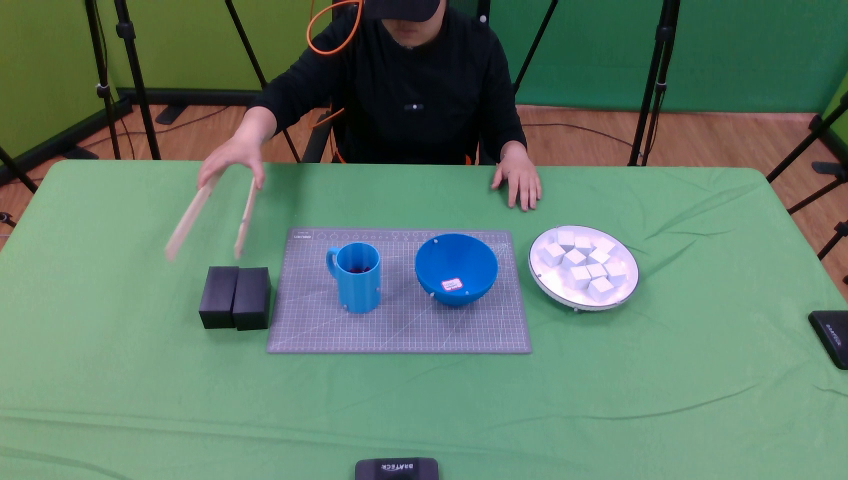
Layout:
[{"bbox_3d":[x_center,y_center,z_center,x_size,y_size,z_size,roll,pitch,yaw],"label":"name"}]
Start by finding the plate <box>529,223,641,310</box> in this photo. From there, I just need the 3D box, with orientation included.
[{"bbox_3d":[0.303,0.053,1.156,0.209,0.038,0.208,2,46,-2],"label":"plate"}]

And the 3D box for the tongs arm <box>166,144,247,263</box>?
[{"bbox_3d":[-0.384,-0.080,1.089,0.028,0.028,0.385,-4,33,4],"label":"tongs arm"}]

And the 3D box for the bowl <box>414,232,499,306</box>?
[{"bbox_3d":[0.056,0.066,1.095,0.151,0.077,0.150,2,46,-2],"label":"bowl"}]

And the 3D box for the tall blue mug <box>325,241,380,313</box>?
[{"bbox_3d":[-0.130,0.063,1.062,0.107,0.108,0.077,9,47,5],"label":"tall blue mug"}]

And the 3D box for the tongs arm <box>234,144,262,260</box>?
[{"bbox_3d":[-0.327,-0.083,1.092,0.051,0.026,0.382,-4,34,-2],"label":"tongs arm"}]
